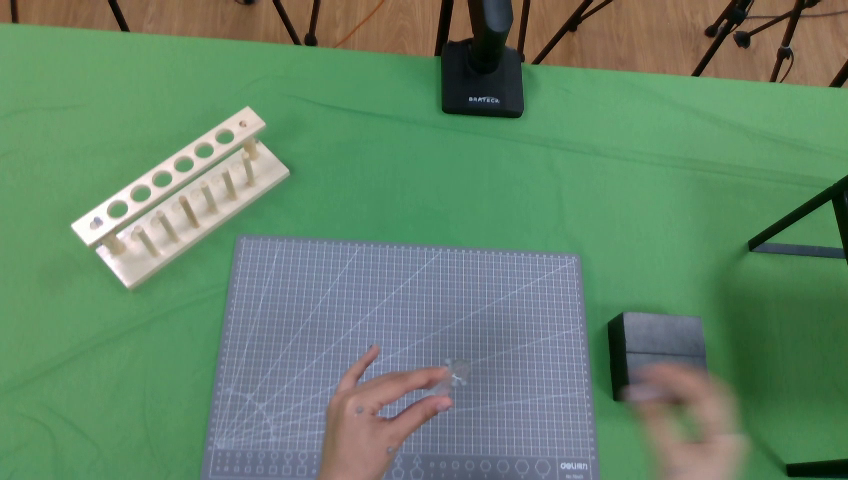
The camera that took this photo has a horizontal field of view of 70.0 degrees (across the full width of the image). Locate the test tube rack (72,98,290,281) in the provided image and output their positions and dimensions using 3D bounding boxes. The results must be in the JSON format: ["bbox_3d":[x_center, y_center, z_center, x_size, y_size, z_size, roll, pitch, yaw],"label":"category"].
[{"bbox_3d":[-0.283,-0.062,0.736,0.242,0.085,0.066,-41,78,-20],"label":"test tube rack"}]

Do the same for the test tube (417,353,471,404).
[{"bbox_3d":[0.015,0.124,0.531,0.017,0.151,0.017,5,65,-10],"label":"test tube"}]
